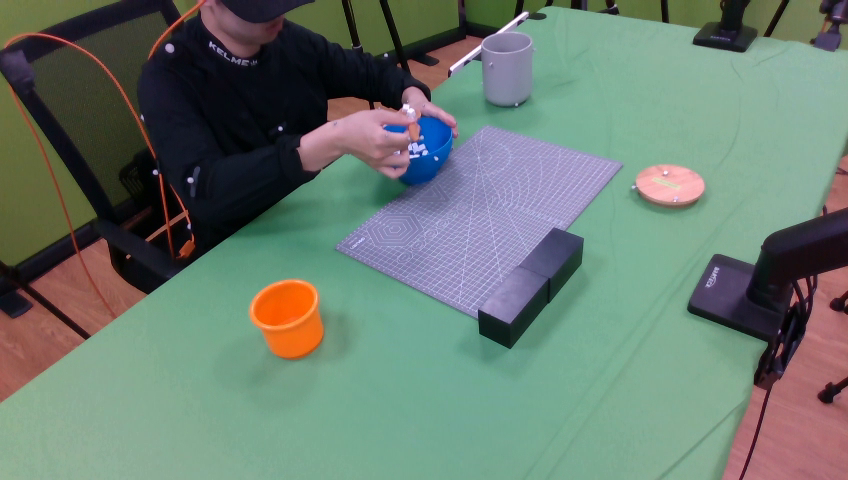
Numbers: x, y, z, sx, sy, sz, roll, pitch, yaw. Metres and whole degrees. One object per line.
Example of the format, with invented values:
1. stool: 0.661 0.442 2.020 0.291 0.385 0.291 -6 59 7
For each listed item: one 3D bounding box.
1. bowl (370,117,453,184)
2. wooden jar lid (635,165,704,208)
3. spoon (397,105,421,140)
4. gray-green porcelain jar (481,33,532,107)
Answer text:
1. bowl: -0.018 -0.155 1.106 0.151 0.077 0.150 -6 39 5
2. wooden jar lid: 0.410 -0.089 1.014 0.108 0.021 0.108 -5 42 5
3. spoon: -0.022 -0.191 0.974 0.042 0.022 0.193 -5 22 -2
4. gray-green porcelain jar: 0.175 -0.355 1.278 0.106 0.127 0.105 -4 41 4
